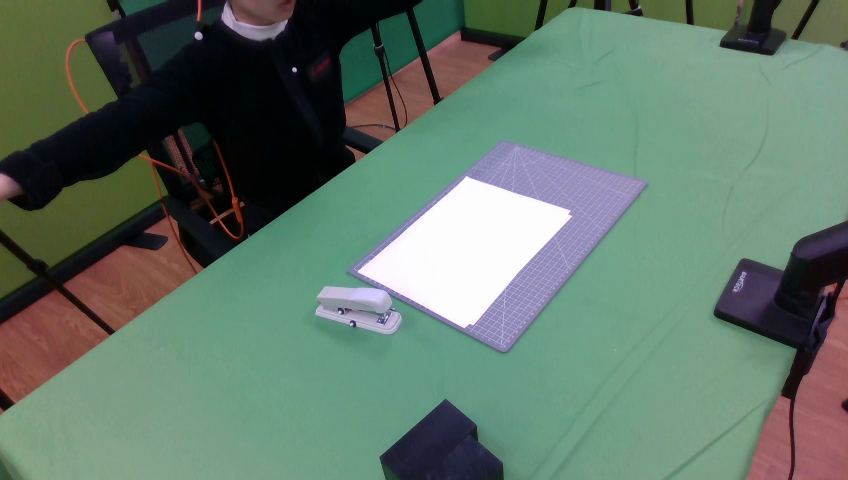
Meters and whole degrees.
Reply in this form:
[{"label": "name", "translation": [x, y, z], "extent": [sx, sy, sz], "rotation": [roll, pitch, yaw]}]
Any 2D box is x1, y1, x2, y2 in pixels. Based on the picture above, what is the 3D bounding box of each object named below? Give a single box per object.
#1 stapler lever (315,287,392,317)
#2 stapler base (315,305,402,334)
[{"label": "stapler lever", "translation": [-0.101, 0.082, 0.852], "extent": [0.117, 0.040, 0.027], "rotation": [10, 41, 22]}, {"label": "stapler base", "translation": [-0.096, 0.101, 0.868], "extent": [0.130, 0.024, 0.041], "rotation": [10, 41, 22]}]
